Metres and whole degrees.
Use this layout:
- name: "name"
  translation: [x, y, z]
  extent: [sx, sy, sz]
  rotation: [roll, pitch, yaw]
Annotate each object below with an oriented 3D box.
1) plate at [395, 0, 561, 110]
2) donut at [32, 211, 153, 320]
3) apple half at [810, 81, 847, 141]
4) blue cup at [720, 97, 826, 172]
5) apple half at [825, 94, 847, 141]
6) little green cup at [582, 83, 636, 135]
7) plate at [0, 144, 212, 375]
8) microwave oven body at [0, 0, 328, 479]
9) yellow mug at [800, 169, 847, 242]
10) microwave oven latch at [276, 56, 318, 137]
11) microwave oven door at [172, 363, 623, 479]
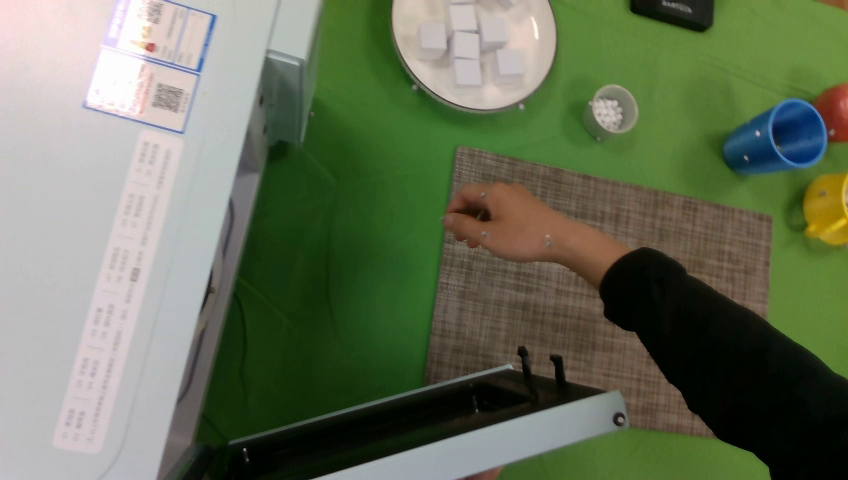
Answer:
- name: "plate"
  translation: [0.065, -0.257, 0.740]
  extent: [0.208, 0.039, 0.207]
  rotation: [2, 84, -13]
- name: "donut"
  translation: [-0.298, 0.024, 0.548]
  extent: [0.099, 0.048, 0.098]
  rotation: [2, 81, -11]
- name: "apple half"
  translation: [0.562, -0.180, 0.831]
  extent: [0.053, 0.074, 0.080]
  rotation: [17, 83, -8]
- name: "blue cup"
  translation: [0.442, -0.128, 0.783]
  extent: [0.093, 0.100, 0.092]
  rotation: [1, 85, -13]
- name: "apple half"
  translation: [0.599, -0.169, 0.837]
  extent: [0.033, 0.081, 0.081]
  rotation: [17, 80, -8]
- name: "little green cup"
  translation: [0.233, -0.163, 0.769]
  extent: [0.062, 0.038, 0.061]
  rotation: [2, 83, -13]
- name: "plate"
  translation: [-0.303, 0.017, 0.556]
  extent: [0.210, 0.038, 0.208]
  rotation: [1, 85, -14]
- name: "microwave oven body"
  translation: [-0.295, -0.030, 0.512]
  extent: [0.327, 0.260, 0.440]
  rotation: [14, 82, -12]
- name: "yellow mug"
  translation: [0.567, -0.042, 0.821]
  extent: [0.131, 0.064, 0.100]
  rotation: [-32, 92, -13]
- name: "microwave oven latch"
  translation: [-0.139, -0.155, 0.661]
  extent: [0.030, 0.029, 0.079]
  rotation: [18, 81, -11]
- name: "microwave oven door"
  translation: [-0.038, 0.177, 0.546]
  extent: [0.357, 0.243, 0.039]
  rotation: [-12, 85, -14]
